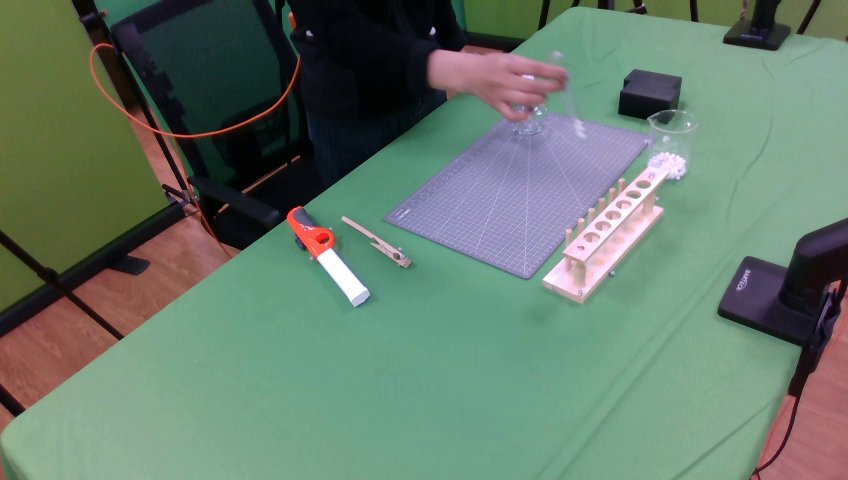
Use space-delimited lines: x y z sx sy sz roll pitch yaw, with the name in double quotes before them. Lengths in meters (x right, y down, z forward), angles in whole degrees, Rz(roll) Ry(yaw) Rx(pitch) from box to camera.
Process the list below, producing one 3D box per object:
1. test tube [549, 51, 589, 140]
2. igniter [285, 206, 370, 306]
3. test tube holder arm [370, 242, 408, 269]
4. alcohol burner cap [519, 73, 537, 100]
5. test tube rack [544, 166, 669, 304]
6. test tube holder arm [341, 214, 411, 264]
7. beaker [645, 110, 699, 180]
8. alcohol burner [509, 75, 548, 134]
"test tube" 0.207 -0.201 0.855 0.017 0.151 0.017 -19 41 18
"igniter" -0.165 0.018 0.986 0.057 0.025 0.274 -34 45 -12
"test tube holder arm" -0.057 0.021 0.971 0.087 0.015 0.010 35 88 40
"alcohol burner cap" 0.198 -0.298 1.163 0.034 0.048 0.033 -9 37 8
"test tube rack" 0.274 -0.018 0.903 0.066 0.085 0.243 26 51 35
"test tube holder arm" -0.082 -0.003 0.999 0.177 0.015 0.013 34 87 40
"beaker" 0.417 -0.160 1.032 0.083 0.101 0.074 25 51 34
"alcohol burner" 0.204 -0.270 1.186 0.078 0.119 0.077 -5 42 5
